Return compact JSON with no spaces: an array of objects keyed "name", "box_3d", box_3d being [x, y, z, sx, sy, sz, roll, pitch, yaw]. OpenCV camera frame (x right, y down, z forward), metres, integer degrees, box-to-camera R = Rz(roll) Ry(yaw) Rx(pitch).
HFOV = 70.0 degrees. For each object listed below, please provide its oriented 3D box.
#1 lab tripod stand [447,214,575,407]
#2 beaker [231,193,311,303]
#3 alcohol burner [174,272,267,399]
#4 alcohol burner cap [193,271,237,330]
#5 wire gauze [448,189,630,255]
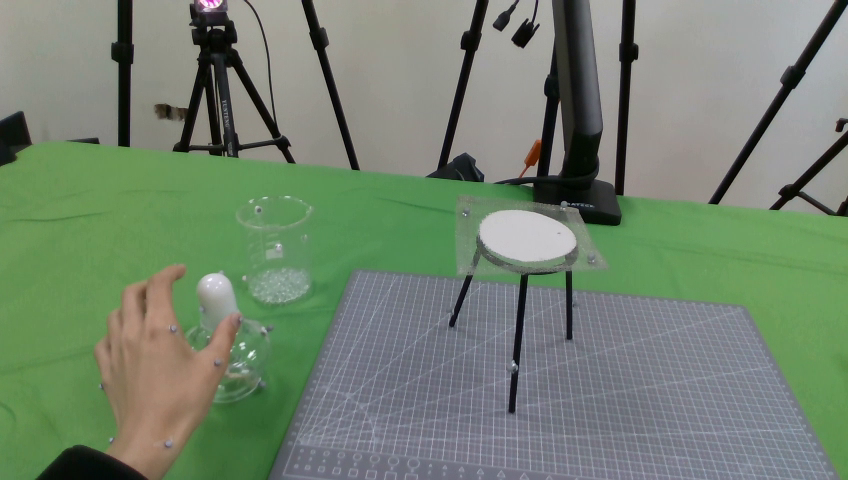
[{"name":"lab tripod stand","box_3d":[0.085,0.056,0.559,0.148,0.132,0.147,4,33,-2]},{"name":"beaker","box_3d":[-0.159,0.009,0.652,0.084,0.101,0.073,-17,37,-30]},{"name":"alcohol burner","box_3d":[-0.176,0.078,0.523,0.078,0.120,0.077,4,30,-2]},{"name":"alcohol burner cap","box_3d":[-0.176,0.048,0.504,0.034,0.048,0.033,2,36,-1]},{"name":"wire gauze","box_3d":[0.095,-0.017,0.518,0.125,0.011,0.120,-2,26,-21]}]
